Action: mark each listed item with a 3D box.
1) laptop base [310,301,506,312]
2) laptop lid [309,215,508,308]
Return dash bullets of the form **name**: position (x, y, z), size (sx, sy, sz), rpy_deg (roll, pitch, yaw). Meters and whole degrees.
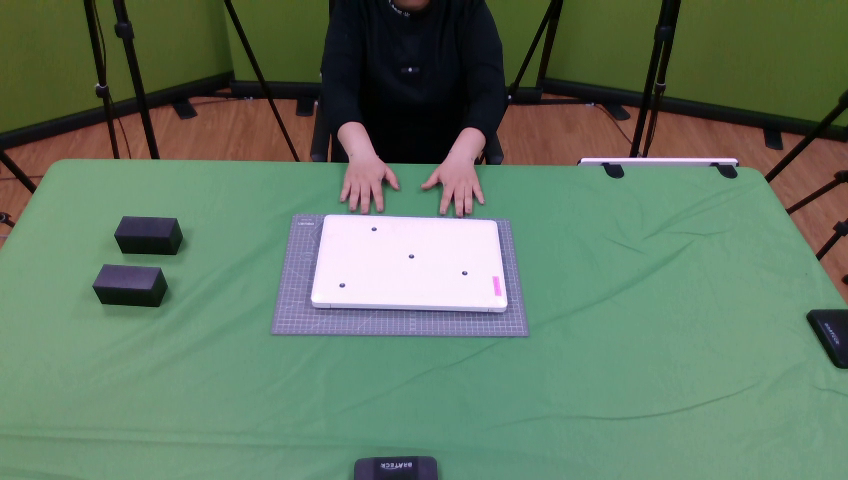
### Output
- **laptop base**: position (-0.027, 0.045, 1.154), size (0.354, 0.023, 0.234), rpy_deg (2, 42, -3)
- **laptop lid**: position (-0.027, 0.035, 1.147), size (0.357, 0.013, 0.240), rpy_deg (3, 43, -1)
